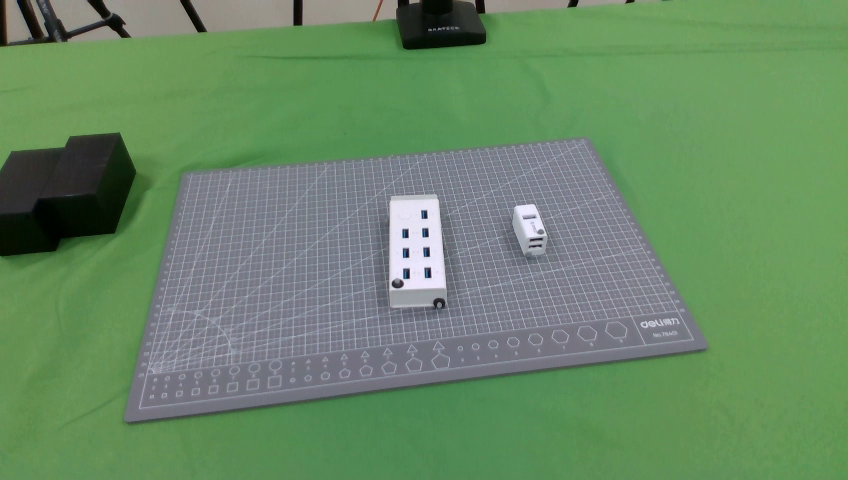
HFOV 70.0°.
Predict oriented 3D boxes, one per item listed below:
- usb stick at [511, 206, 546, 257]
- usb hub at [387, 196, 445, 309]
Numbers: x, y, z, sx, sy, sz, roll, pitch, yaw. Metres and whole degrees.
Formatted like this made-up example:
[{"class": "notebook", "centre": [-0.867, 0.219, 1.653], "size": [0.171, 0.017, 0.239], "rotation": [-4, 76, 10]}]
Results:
[{"class": "usb stick", "centre": [0.096, -0.013, 0.570], "size": [0.021, 0.027, 0.058], "rotation": [-7, 41, -4]}, {"class": "usb hub", "centre": [-0.009, 0.008, 0.550], "size": [0.049, 0.025, 0.124], "rotation": [-2, 44, -1]}]
